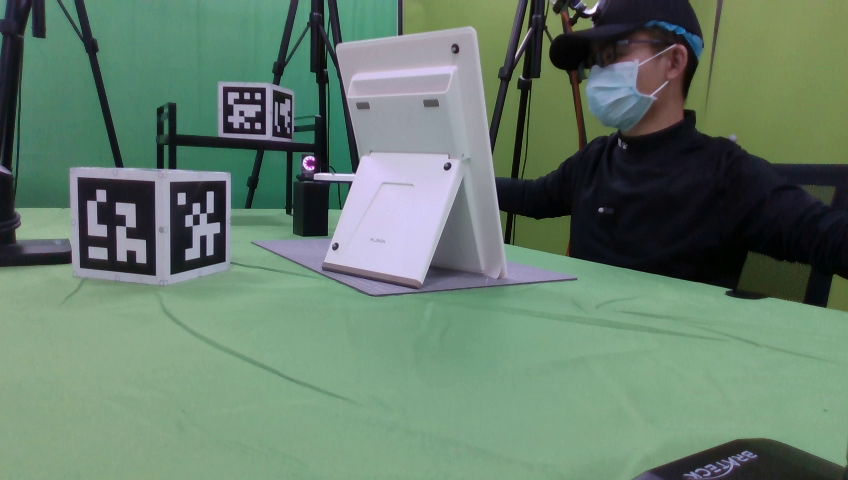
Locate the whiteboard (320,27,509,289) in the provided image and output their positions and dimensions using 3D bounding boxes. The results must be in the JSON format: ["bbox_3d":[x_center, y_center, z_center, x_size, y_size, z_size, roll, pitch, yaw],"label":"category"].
[{"bbox_3d":[-0.045,-0.076,0.721,0.216,0.305,0.144,9,29,39],"label":"whiteboard"}]

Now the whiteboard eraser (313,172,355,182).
[{"bbox_3d":[-0.164,-0.122,1.163,0.102,0.019,0.041,0,6,-27],"label":"whiteboard eraser"}]
